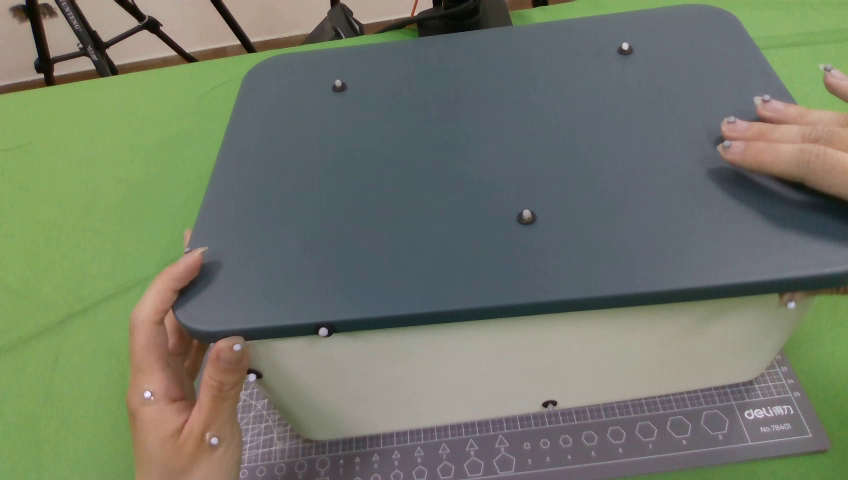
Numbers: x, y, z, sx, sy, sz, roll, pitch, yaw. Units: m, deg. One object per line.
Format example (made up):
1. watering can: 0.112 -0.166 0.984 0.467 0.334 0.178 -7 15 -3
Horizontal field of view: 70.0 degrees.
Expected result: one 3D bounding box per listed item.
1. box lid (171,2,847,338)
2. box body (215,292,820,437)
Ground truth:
1. box lid: 0.041 -0.062 0.385 0.371 0.015 0.260 -5 48 6
2. box body: 0.057 -0.013 0.453 0.364 0.162 0.251 -9 48 3
